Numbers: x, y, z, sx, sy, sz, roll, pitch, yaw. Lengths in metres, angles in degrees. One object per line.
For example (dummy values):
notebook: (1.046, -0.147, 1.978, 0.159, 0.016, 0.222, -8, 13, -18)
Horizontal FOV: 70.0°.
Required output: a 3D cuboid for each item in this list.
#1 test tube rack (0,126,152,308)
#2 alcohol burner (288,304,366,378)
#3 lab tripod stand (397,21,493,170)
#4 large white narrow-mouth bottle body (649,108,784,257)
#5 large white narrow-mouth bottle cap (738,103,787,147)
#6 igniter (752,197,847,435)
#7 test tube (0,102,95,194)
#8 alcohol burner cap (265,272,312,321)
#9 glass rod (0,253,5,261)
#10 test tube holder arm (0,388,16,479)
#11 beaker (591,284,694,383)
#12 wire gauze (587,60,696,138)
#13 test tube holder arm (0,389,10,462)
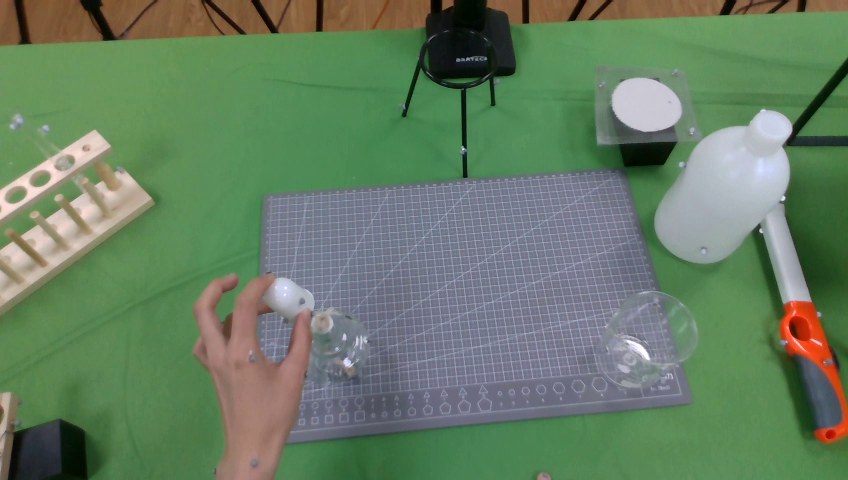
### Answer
test tube rack: (-0.437, -0.013, 0.667, 0.066, 0.086, 0.242, 41, 69, 19)
alcohol burner: (-0.097, 0.093, 0.596, 0.078, 0.120, 0.077, 1, 61, -2)
lab tripod stand: (0.035, -0.180, 0.734, 0.148, 0.132, 0.147, 1, 63, -2)
large white narrow-mouth bottle body: (0.315, -0.065, 0.641, 0.102, 0.196, 0.101, 0, 61, 0)
large white narrow-mouth bottle cap: (0.315, -0.108, 0.566, 0.038, 0.024, 0.037, 0, 62, 0)
igniter: (0.405, 0.072, 0.664, 0.057, 0.025, 0.274, 5, 62, -9)
test tube: (-0.402, -0.094, 0.654, 0.017, 0.151, 0.017, -2, 61, 4)
alcohol burner cap: (-0.115, 0.045, 0.506, 0.034, 0.048, 0.033, -2, 64, 4)
glass rod: (-0.470, -0.035, 0.604, 0.008, 0.201, 0.008, 2, 53, -2)
test tube holder arm: (-0.376, 0.219, 0.531, 0.013, 0.015, 0.177, -12, 67, 2)
beaker: (0.210, 0.098, 0.605, 0.084, 0.101, 0.073, 1, 61, 1)
wire gauze: (0.265, -0.175, 0.748, 0.121, 0.011, 0.124, 2, 62, 1)
test tube holder arm: (-0.389, 0.180, 0.549, 0.010, 0.015, 0.087, -11, 67, 2)
